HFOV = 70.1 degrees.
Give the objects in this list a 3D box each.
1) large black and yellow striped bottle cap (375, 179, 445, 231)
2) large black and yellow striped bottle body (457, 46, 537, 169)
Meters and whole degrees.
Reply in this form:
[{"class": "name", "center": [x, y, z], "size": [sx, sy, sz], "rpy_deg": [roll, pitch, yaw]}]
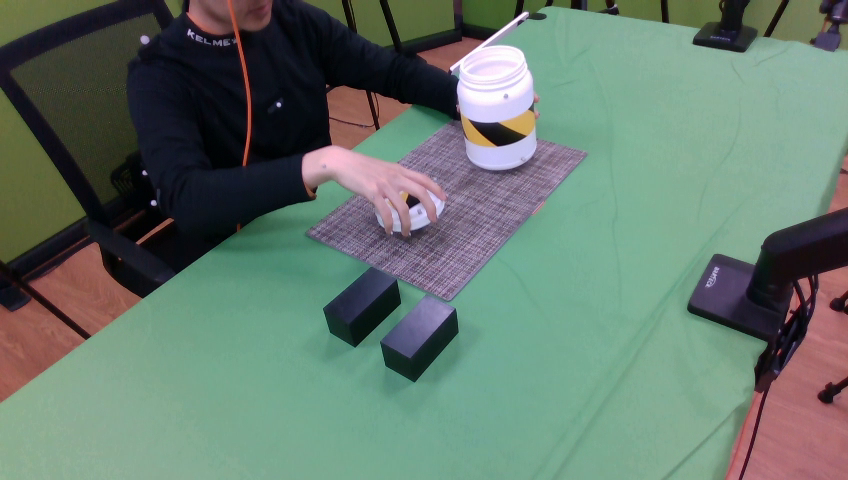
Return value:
[{"class": "large black and yellow striped bottle cap", "center": [-0.024, -0.059, 0.977], "size": [0.115, 0.019, 0.114], "rpy_deg": [-11, 39, 10]}, {"class": "large black and yellow striped bottle body", "center": [0.129, -0.232, 1.066], "size": [0.130, 0.185, 0.130], "rpy_deg": [-7, 43, 7]}]
